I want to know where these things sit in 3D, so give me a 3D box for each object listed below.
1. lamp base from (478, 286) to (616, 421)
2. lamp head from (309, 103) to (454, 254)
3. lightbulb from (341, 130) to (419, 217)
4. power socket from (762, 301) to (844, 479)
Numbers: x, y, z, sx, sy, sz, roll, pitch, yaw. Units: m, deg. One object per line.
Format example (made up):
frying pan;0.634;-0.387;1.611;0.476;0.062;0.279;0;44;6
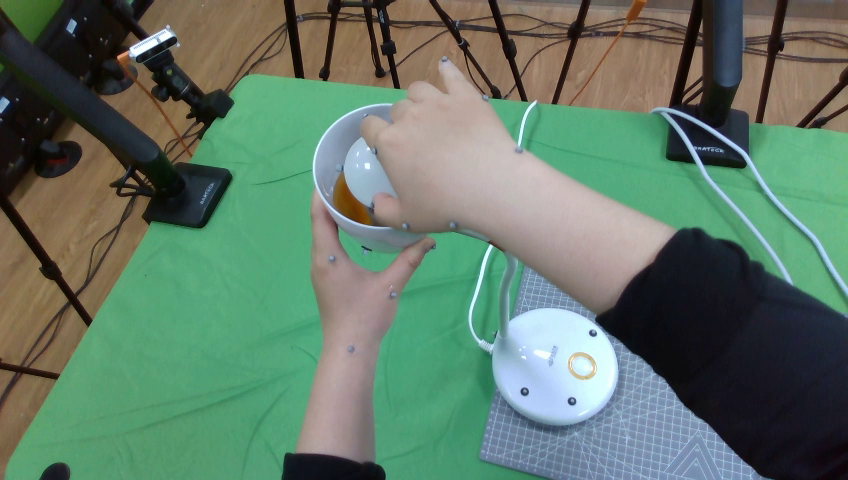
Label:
lamp base;0.143;0.114;0.729;0.178;0.182;0.159;3;58;15
lamp head;-0.029;-0.037;0.515;0.112;0.124;0.111;-2;66;5
lightbulb;-0.034;-0.046;0.485;0.059;0.108;0.059;0;72;-1
power socket;0.453;0.174;0.731;0.072;0.033;0.225;9;58;13
